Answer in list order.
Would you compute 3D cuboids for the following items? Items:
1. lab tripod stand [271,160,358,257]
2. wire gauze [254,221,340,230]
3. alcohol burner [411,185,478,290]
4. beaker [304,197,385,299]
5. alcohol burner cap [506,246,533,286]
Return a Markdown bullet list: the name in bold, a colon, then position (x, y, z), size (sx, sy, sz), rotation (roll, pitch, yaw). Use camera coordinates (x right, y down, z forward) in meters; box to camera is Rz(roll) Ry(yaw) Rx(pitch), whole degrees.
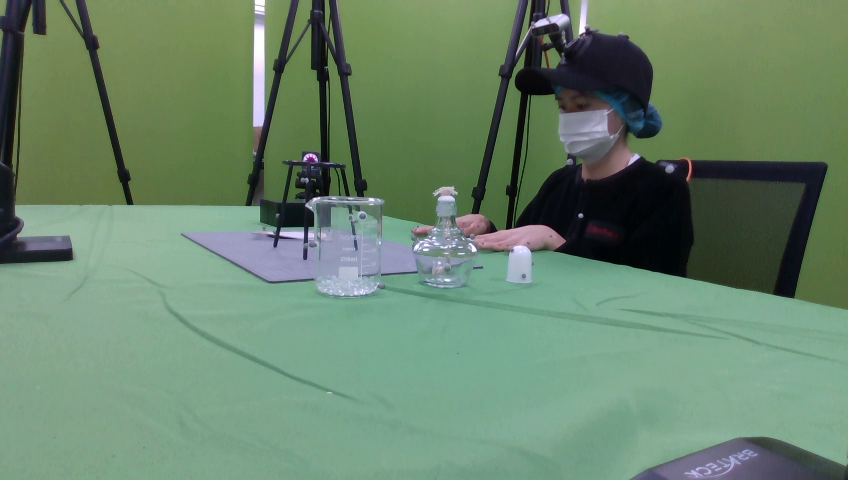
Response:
- **lab tripod stand**: position (-0.159, -0.048, 0.876), size (0.148, 0.131, 0.148), rotation (3, 5, 0)
- **wire gauze**: position (-0.224, -0.026, 1.057), size (0.122, 0.011, 0.124), rotation (-3, 3, -26)
- **alcohol burner**: position (0.023, -0.004, 0.697), size (0.078, 0.119, 0.078), rotation (0, 7, 0)
- **beaker**: position (-0.083, 0.007, 0.628), size (0.084, 0.100, 0.073), rotation (-1, 7, -21)
- **alcohol burner cap**: position (0.118, 0.032, 0.739), size (0.034, 0.048, 0.034), rotation (1, 7, 0)
